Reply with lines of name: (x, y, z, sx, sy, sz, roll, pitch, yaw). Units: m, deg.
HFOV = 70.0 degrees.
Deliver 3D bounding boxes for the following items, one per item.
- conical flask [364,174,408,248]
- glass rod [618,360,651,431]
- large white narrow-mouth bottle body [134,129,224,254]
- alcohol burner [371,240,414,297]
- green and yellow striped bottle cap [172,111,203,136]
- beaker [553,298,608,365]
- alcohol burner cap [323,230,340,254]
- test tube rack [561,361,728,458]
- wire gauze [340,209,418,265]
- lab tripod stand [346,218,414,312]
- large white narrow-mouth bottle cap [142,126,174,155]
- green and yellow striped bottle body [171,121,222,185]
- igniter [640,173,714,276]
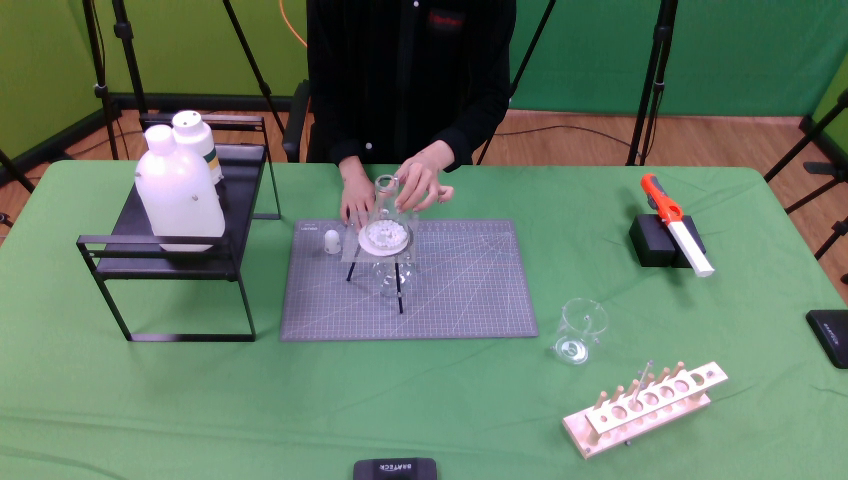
conical flask: (-0.062, -0.050, 0.986, 0.075, 0.122, 0.075, 2, 46, -2)
glass rod: (0.298, 0.227, 0.865, 0.008, 0.201, 0.008, -1, 47, 2)
large white narrow-mouth bottle body: (-0.358, -0.075, 0.875, 0.102, 0.195, 0.101, 1, 48, -1)
alcohol burner: (-0.057, 0.046, 1.082, 0.078, 0.120, 0.077, 0, 46, 0)
green and yellow striped bottle cap: (-0.374, -0.185, 0.958, 0.045, 0.020, 0.045, 3, 46, -3)
beaker: (0.260, 0.154, 1.015, 0.073, 0.101, 0.084, 37, 54, 27)
alcohol burner cap: (-0.179, 0.002, 1.165, 0.034, 0.048, 0.033, 2, 45, -2)
test tube rack: (0.341, 0.248, 0.940, 0.243, 0.085, 0.066, -15, 49, -18)
wire gauze: (-0.074, -0.006, 1.024, 0.121, 0.011, 0.124, 2, 48, 1)
lab tripod stand: (-0.070, 0.037, 1.075, 0.148, 0.132, 0.147, 1, 47, -1)
large white narrow-mouth bottle cap: (-0.356, -0.133, 0.811, 0.038, 0.024, 0.037, 2, 48, -2)
green and yellow striped bottle body: (-0.375, -0.149, 0.995, 0.063, 0.120, 0.063, 2, 46, -2)
igniter: (0.495, -0.039, 1.204, 0.057, 0.025, 0.274, -2, 47, -12)
